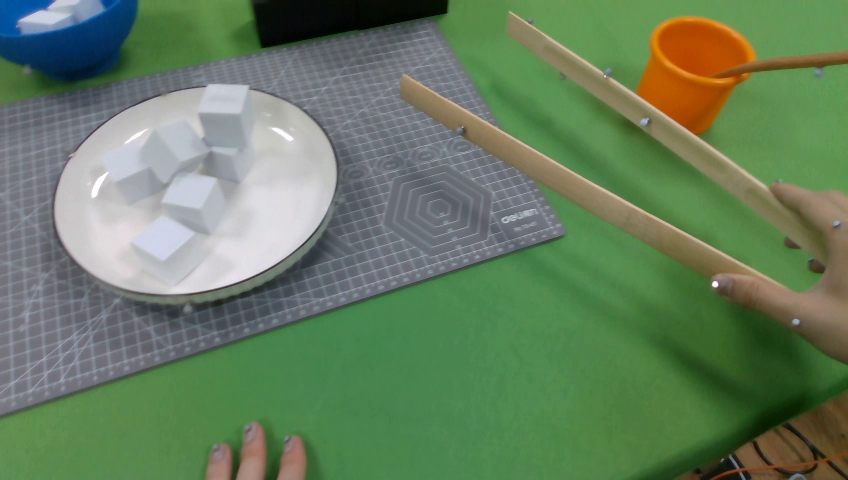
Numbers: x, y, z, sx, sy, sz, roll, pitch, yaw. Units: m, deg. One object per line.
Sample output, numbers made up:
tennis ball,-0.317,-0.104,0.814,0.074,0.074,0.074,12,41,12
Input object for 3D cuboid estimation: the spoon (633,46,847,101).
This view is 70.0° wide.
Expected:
spoon,0.259,-0.141,0.509,0.041,0.192,0.022,-38,109,-22

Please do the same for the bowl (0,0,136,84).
bowl,-0.334,-0.198,0.555,0.151,0.077,0.150,1,55,-2

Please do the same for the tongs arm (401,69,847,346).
tongs arm,0.134,-0.034,0.448,0.385,0.028,0.028,34,52,19

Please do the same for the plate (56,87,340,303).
plate,-0.169,-0.038,0.476,0.208,0.039,0.205,2,55,-2

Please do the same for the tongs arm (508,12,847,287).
tongs arm,0.188,-0.073,0.482,0.051,0.027,0.381,-32,62,-27
